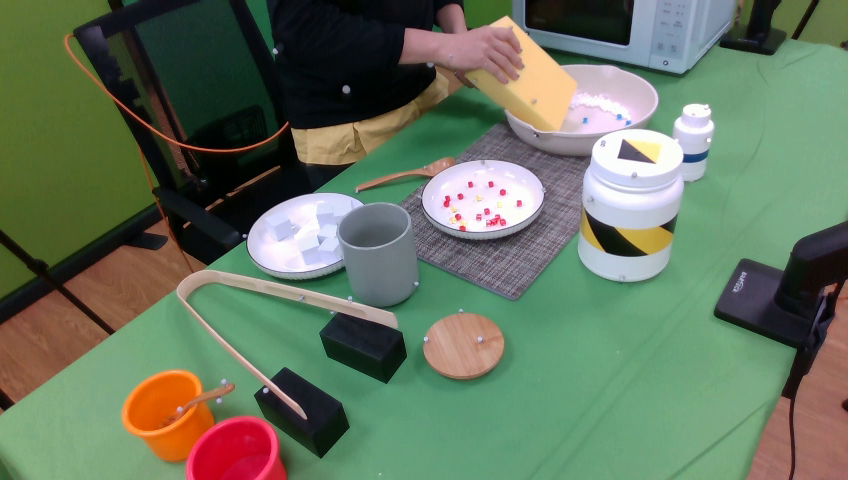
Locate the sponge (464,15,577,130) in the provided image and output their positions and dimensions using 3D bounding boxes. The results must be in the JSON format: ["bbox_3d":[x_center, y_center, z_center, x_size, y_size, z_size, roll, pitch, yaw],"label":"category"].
[{"bbox_3d":[0.187,-0.308,1.144,0.060,0.208,0.118,-4,60,56],"label":"sponge"}]

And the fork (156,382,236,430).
[{"bbox_3d":[-0.262,0.189,0.690,0.018,0.206,0.028,49,43,-7],"label":"fork"}]

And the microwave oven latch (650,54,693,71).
[{"bbox_3d":[0.531,-0.386,1.301,0.078,0.029,0.030,26,51,33],"label":"microwave oven latch"}]

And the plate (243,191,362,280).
[{"bbox_3d":[-0.188,-0.005,0.992,0.207,0.039,0.206,-4,41,4],"label":"plate"}]

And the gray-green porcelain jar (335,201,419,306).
[{"bbox_3d":[-0.064,0.024,0.872,0.106,0.127,0.105,-4,41,4],"label":"gray-green porcelain jar"}]

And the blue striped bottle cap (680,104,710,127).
[{"bbox_3d":[0.443,-0.205,0.989,0.044,0.021,0.044,-1,41,2],"label":"blue striped bottle cap"}]

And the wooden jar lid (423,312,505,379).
[{"bbox_3d":[0.053,0.142,0.800,0.108,0.021,0.108,-5,39,4],"label":"wooden jar lid"}]

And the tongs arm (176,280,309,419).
[{"bbox_3d":[-0.254,0.133,0.801,0.028,0.028,0.384,-41,41,-23],"label":"tongs arm"}]

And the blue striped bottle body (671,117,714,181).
[{"bbox_3d":[0.449,-0.165,1.022,0.063,0.121,0.063,-5,41,4],"label":"blue striped bottle body"}]

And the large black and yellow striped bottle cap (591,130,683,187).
[{"bbox_3d":[0.282,-0.111,0.803,0.115,0.019,0.114,-3,41,3],"label":"large black and yellow striped bottle cap"}]

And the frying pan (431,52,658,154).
[{"bbox_3d":[0.216,-0.302,1.223,0.484,0.103,0.308,29,49,24],"label":"frying pan"}]

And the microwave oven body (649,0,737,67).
[{"bbox_3d":[0.475,-0.602,1.411,0.438,0.261,0.327,23,50,32],"label":"microwave oven body"}]

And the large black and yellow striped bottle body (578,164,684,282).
[{"bbox_3d":[0.291,-0.046,0.859,0.131,0.185,0.130,-4,41,4],"label":"large black and yellow striped bottle body"}]

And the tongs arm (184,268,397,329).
[{"bbox_3d":[-0.202,0.084,0.848,0.382,0.027,0.051,11,45,35],"label":"tongs arm"}]

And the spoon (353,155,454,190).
[{"bbox_3d":[-0.038,-0.123,1.116,0.194,0.022,0.041,-12,57,-4],"label":"spoon"}]

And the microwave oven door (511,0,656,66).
[{"bbox_3d":[0.351,-0.540,1.349,0.353,0.245,0.039,24,50,31],"label":"microwave oven door"}]

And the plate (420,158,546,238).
[{"bbox_3d":[0.099,-0.067,1.017,0.209,0.038,0.208,-4,40,4],"label":"plate"}]
